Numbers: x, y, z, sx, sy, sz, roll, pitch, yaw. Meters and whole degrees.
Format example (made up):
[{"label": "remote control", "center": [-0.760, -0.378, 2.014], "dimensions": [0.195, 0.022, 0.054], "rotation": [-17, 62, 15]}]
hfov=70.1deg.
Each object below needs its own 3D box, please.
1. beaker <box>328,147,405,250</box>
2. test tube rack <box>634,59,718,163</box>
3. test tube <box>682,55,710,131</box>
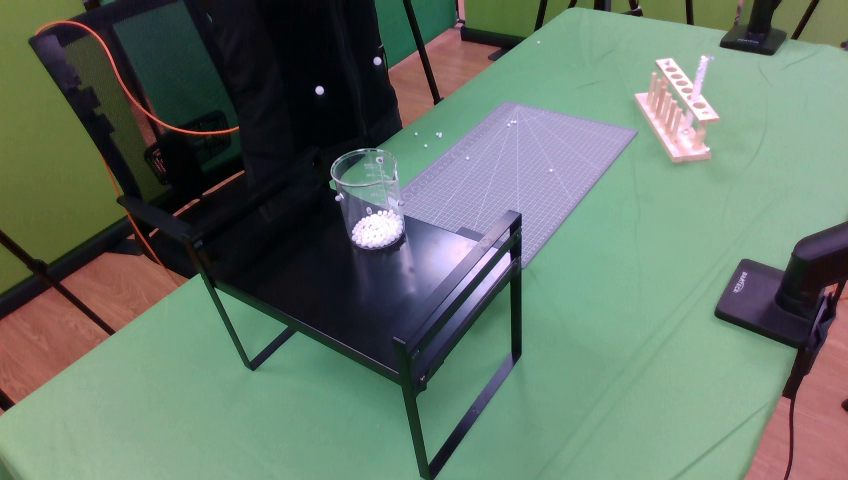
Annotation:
[{"label": "beaker", "center": [-0.060, -0.045, 0.699], "dimensions": [0.083, 0.101, 0.074], "rotation": [19, 47, 27]}, {"label": "test tube rack", "center": [0.470, -0.250, 1.148], "dimensions": [0.067, 0.085, 0.241], "rotation": [-6, 40, 3]}, {"label": "test tube", "center": [0.484, -0.259, 1.079], "dimensions": [0.017, 0.151, 0.017], "rotation": [-3, 44, 4]}]
